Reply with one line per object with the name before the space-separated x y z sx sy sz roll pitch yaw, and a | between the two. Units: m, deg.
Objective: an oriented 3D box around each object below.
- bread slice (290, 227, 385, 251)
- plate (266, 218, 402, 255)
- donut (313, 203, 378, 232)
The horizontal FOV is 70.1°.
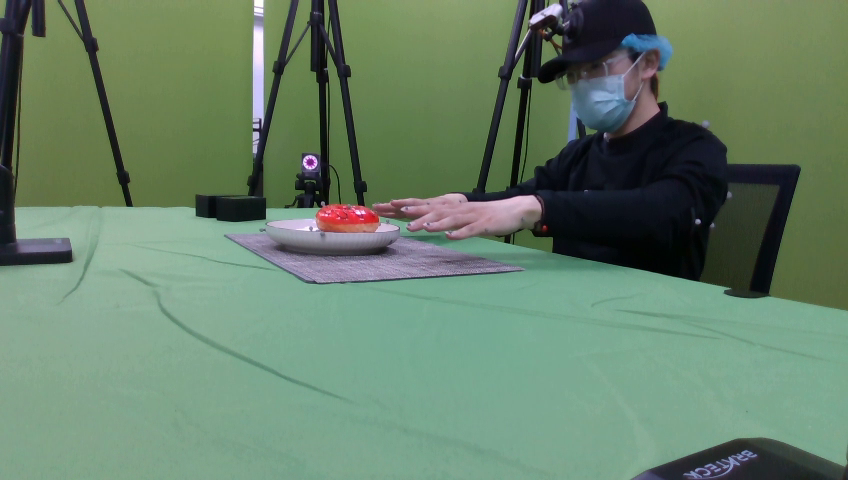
bread slice | -0.143 -0.004 0.939 0.131 0.019 0.105 9 9 33
plate | -0.138 -0.006 0.941 0.208 0.039 0.207 2 7 0
donut | -0.119 -0.030 0.915 0.099 0.048 0.099 5 9 0
